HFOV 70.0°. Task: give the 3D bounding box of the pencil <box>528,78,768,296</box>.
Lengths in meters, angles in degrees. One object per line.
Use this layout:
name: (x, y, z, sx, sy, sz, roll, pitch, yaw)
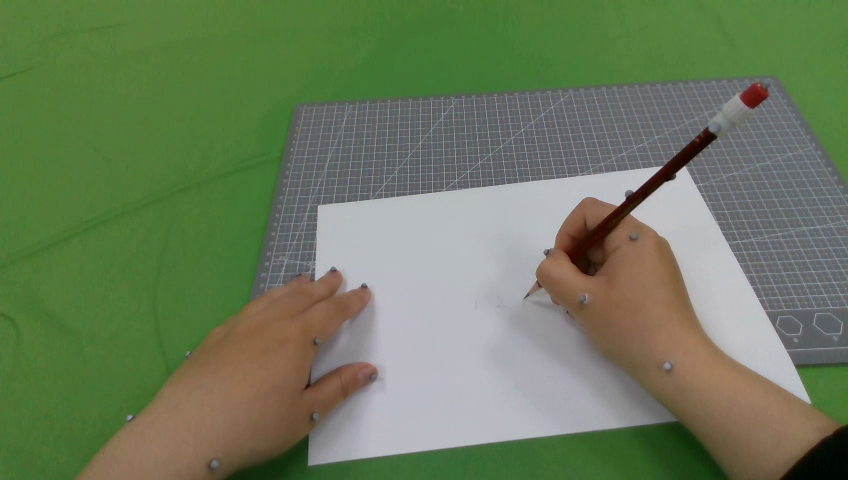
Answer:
pencil: (0.112, -0.017, 0.344, 0.012, 0.194, 0.012, 17, 49, -20)
